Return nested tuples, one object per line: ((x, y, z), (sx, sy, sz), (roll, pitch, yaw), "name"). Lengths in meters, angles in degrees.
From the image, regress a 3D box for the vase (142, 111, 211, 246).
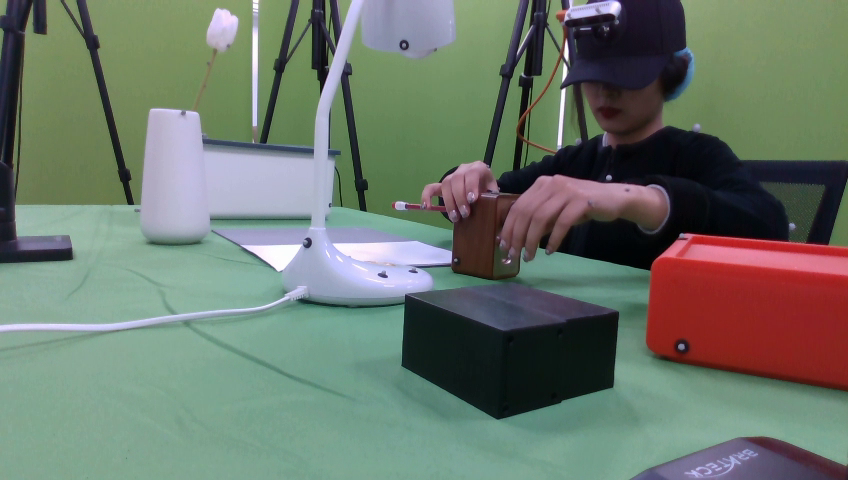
((-0.378, -0.093, 0.920), (0.098, 0.200, 0.098), (2, 9, 0), "vase")

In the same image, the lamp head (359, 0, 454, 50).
((-0.024, -0.283, 0.674), (0.112, 0.123, 0.112), (-3, 38, 3), "lamp head")

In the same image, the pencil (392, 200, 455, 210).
((0.024, -0.046, 0.818), (0.193, 0.012, 0.012), (6, 8, 44), "pencil")

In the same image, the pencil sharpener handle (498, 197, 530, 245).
((0.114, -0.021, 0.720), (0.030, 0.068, 0.036), (9, -34, 43), "pencil sharpener handle")

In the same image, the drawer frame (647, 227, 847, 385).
((0.303, 0.043, 0.495), (0.201, 0.082, 0.214), (6, 9, 26), "drawer frame")

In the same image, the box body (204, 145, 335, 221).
((-0.411, -0.135, 1.386), (0.366, 0.160, 0.253), (-2, 9, -29), "box body")

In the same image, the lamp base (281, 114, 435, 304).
((-0.071, -0.035, 0.614), (0.160, 0.180, 0.180), (6, 10, 27), "lamp base")

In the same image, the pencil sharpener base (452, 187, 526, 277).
((0.084, -0.011, 0.764), (0.076, 0.107, 0.062), (9, 10, 43), "pencil sharpener base")

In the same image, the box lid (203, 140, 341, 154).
((-0.396, -0.212, 1.373), (0.373, 0.015, 0.262), (-1, 9, -29), "box lid")

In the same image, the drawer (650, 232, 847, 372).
((0.303, 0.044, 0.499), (0.194, 0.073, 0.212), (6, 9, 27), "drawer")

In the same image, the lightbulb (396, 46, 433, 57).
((-0.018, -0.265, 0.692), (0.059, 0.108, 0.059), (-10, 28, 5), "lightbulb")

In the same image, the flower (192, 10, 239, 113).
((-0.354, -0.174, 0.915), (0.038, 0.361, 0.044), (18, -3, 12), "flower")
